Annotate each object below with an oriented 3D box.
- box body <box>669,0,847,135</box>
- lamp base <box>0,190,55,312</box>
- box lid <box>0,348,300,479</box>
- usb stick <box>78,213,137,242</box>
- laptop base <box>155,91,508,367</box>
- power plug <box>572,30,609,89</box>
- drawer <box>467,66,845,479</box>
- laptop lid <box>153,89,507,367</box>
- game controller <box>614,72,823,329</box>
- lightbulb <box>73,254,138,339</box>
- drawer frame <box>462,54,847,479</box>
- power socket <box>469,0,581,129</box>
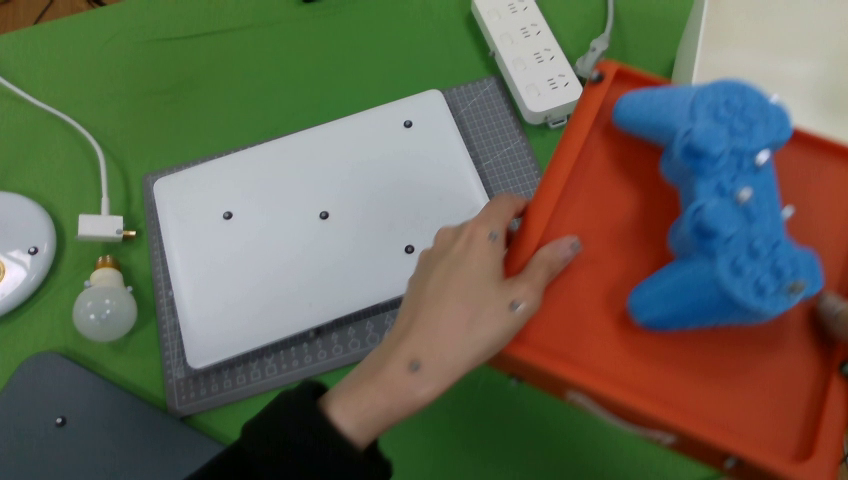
[{"bbox_3d":[0.370,-0.099,0.601,0.253,0.161,0.362,14,68,10],"label":"box body"},{"bbox_3d":[-0.514,-0.024,0.620,0.178,0.182,0.160,40,74,22],"label":"lamp base"},{"bbox_3d":[-0.303,0.281,0.562,0.370,0.015,0.262,23,70,13],"label":"box lid"},{"bbox_3d":[-0.355,-0.013,0.681,0.059,0.021,0.027,7,66,-29],"label":"usb stick"},{"bbox_3d":[-0.110,-0.023,0.680,0.354,0.023,0.233,-19,69,-5],"label":"laptop base"},{"bbox_3d":[0.208,-0.215,0.733,0.072,0.053,0.035,-35,62,-30],"label":"power plug"},{"bbox_3d":[0.157,0.018,0.380,0.194,0.074,0.211,24,73,13],"label":"drawer"},{"bbox_3d":[-0.110,-0.026,0.668,0.357,0.013,0.239,-18,68,-4],"label":"laptop lid"},{"bbox_3d":[0.164,-0.027,0.342,0.097,0.052,0.154,3,71,0],"label":"game controller"},{"bbox_3d":[-0.338,0.056,0.645,0.059,0.060,0.106,-19,50,-4],"label":"lightbulb"},{"bbox_3d":[0.158,0.016,0.381,0.201,0.083,0.213,23,72,12],"label":"drawer frame"},{"bbox_3d":[0.122,-0.236,0.752,0.072,0.033,0.224,-18,65,-5],"label":"power socket"}]
